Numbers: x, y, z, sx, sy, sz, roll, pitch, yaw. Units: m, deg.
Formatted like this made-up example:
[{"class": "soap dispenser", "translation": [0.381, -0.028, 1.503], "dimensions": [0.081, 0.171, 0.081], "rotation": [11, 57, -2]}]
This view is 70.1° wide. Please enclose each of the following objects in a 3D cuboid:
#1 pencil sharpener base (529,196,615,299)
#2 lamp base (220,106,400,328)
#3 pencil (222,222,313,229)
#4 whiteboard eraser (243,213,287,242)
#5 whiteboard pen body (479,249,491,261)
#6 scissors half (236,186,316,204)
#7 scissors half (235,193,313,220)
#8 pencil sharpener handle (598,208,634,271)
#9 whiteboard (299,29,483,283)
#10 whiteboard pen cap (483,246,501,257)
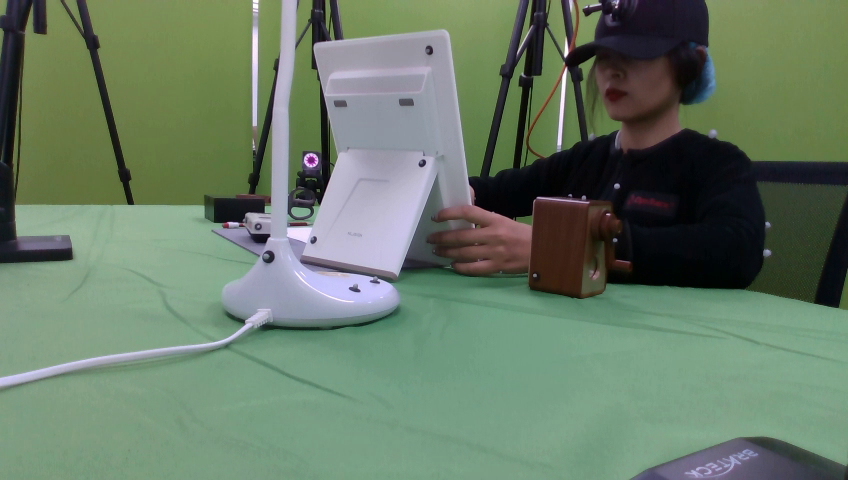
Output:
[{"class": "pencil sharpener base", "translation": [0.168, 0.007, 0.678], "dimensions": [0.076, 0.107, 0.062], "rotation": [10, 10, 42]}, {"class": "lamp base", "translation": [-0.101, -0.023, 0.531], "dimensions": [0.160, 0.180, 0.179], "rotation": [4, 10, 10]}, {"class": "pencil", "translation": [-0.302, -0.030, 1.188], "dimensions": [0.195, 0.012, 0.012], "rotation": [-2, 9, -42]}, {"class": "whiteboard eraser", "translation": [-0.260, -0.021, 0.982], "dimensions": [0.056, 0.042, 0.112], "rotation": [1, 7, -23]}, {"class": "whiteboard pen body", "translation": [0.033, 0.017, 0.900], "dimensions": [0.140, 0.017, 0.017], "rotation": [6, 8, 28]}, {"class": "scissors half", "translation": [-0.320, -0.097, 1.316], "dimensions": [0.176, 0.040, 0.013], "rotation": [-3, 11, -29]}, {"class": "scissors half", "translation": [-0.324, -0.077, 1.319], "dimensions": [0.176, 0.040, 0.012], "rotation": [17, 6, -31]}, {"class": "pencil sharpener handle", "translation": [0.208, 0.000, 0.644], "dimensions": [0.030, 0.068, 0.036], "rotation": [10, 23, 42]}, {"class": "whiteboard", "translation": [-0.074, -0.082, 0.742], "dimensions": [0.216, 0.305, 0.144], "rotation": [9, 29, 37]}, {"class": "whiteboard pen cap", "translation": [0.104, 0.017, 0.936], "dimensions": [0.018, 0.018, 0.033], "rotation": [-1, 3, -22]}]
